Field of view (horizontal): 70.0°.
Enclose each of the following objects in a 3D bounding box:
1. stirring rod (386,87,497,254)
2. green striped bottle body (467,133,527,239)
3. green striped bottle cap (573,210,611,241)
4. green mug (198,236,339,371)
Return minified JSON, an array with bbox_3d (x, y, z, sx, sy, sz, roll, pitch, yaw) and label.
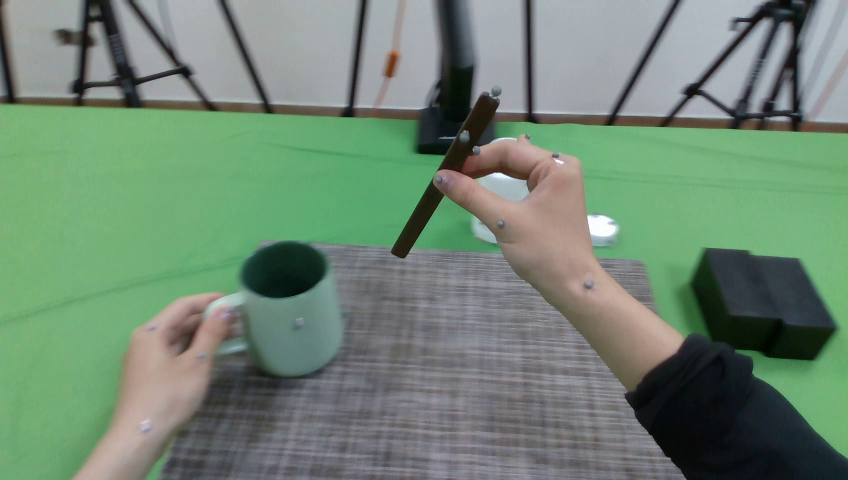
[{"bbox_3d":[0.007,-0.041,0.431,0.014,0.177,0.006,24,49,-8],"label":"stirring rod"},{"bbox_3d":[0.085,-0.065,0.712,0.063,0.120,0.062,1,41,-1],"label":"green striped bottle body"},{"bbox_3d":[0.206,-0.018,0.741,0.044,0.020,0.044,1,37,-1],"label":"green striped bottle cap"},{"bbox_3d":[-0.143,0.065,0.558,0.125,0.106,0.091,-18,45,-21],"label":"green mug"}]
